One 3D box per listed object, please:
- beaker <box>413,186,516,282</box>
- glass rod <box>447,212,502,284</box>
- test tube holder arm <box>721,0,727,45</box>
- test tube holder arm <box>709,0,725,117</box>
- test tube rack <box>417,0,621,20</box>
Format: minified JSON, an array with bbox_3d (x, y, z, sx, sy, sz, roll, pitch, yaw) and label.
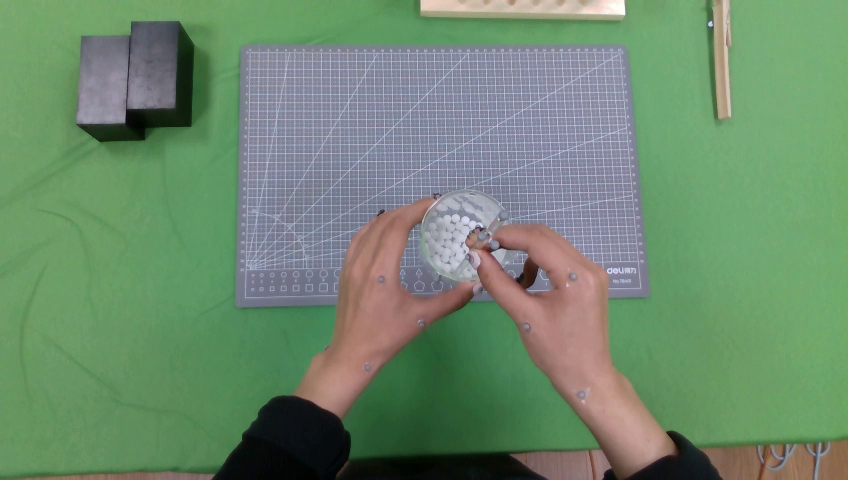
[{"bbox_3d":[0.031,0.001,0.520,0.084,0.100,0.074,17,83,-2],"label":"beaker"},{"bbox_3d":[0.033,0.012,0.452,0.008,0.200,0.008,2,75,-6],"label":"glass rod"},{"bbox_3d":[0.357,-0.276,0.731,0.010,0.015,0.087,11,78,-31],"label":"test tube holder arm"},{"bbox_3d":[0.348,-0.232,0.720,0.013,0.015,0.177,10,78,-31],"label":"test tube holder arm"},{"bbox_3d":[0.114,-0.306,0.688,0.242,0.085,0.066,0,79,-3],"label":"test tube rack"}]
